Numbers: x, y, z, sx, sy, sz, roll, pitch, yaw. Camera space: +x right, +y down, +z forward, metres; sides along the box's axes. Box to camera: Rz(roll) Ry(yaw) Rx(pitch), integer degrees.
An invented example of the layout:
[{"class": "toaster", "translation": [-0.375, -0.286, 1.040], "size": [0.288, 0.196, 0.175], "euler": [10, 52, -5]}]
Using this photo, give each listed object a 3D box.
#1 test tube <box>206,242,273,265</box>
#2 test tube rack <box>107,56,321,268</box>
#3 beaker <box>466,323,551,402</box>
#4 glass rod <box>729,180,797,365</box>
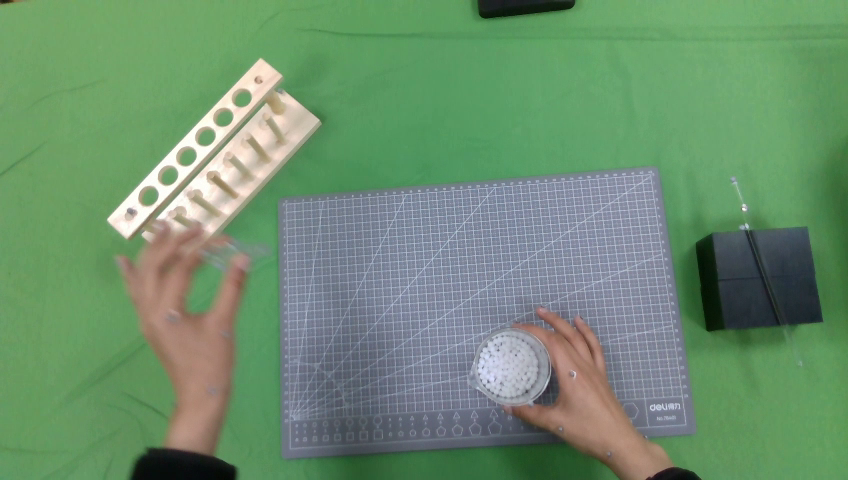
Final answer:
[{"class": "test tube", "translation": [-0.162, 0.010, 0.546], "size": [0.017, 0.150, 0.017], "euler": [0, 91, 1]}, {"class": "test tube rack", "translation": [-0.233, -0.086, 0.695], "size": [0.066, 0.085, 0.242], "euler": [40, 84, 11]}, {"class": "beaker", "translation": [0.084, 0.129, 0.626], "size": [0.084, 0.101, 0.073], "euler": [-21, 77, 0]}, {"class": "glass rod", "translation": [0.351, 0.031, 0.630], "size": [0.008, 0.008, 0.199], "euler": [-13, 79, 1]}]
